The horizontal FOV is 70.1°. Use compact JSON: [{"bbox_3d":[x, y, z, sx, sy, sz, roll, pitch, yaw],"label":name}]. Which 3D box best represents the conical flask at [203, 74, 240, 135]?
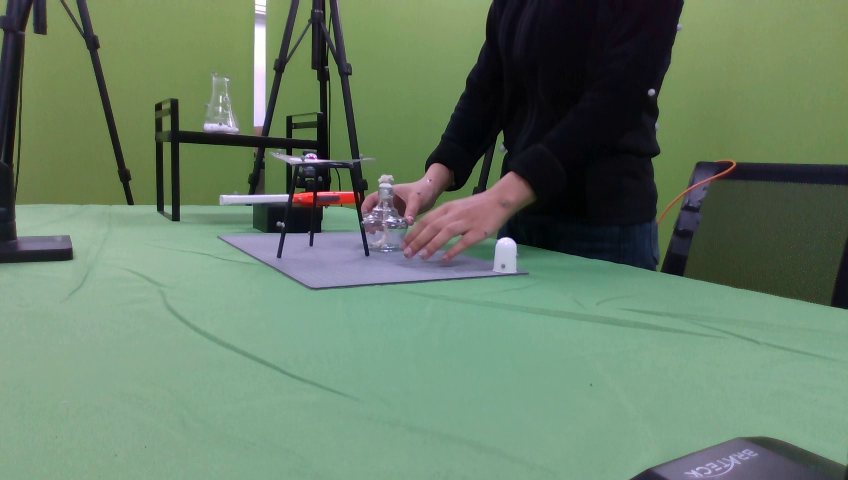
[{"bbox_3d":[-0.425,-0.284,1.271,0.075,0.122,0.075,3,7,0],"label":"conical flask"}]

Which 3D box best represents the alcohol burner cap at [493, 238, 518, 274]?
[{"bbox_3d":[0.107,0.021,0.785,0.034,0.048,0.034,1,6,0],"label":"alcohol burner cap"}]

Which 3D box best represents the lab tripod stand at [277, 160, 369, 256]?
[{"bbox_3d":[-0.150,-0.046,0.861,0.148,0.131,0.148,3,9,0],"label":"lab tripod stand"}]

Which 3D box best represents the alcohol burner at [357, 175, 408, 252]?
[{"bbox_3d":[-0.062,-0.041,0.930,0.078,0.119,0.078,4,8,0],"label":"alcohol burner"}]

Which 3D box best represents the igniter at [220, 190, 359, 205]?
[{"bbox_3d":[-0.247,-0.081,1.158,0.278,0.025,0.057,-5,7,-33],"label":"igniter"}]

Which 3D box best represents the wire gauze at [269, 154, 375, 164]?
[{"bbox_3d":[-0.146,-0.114,0.860,0.122,0.011,0.124,-2,9,-29],"label":"wire gauze"}]
